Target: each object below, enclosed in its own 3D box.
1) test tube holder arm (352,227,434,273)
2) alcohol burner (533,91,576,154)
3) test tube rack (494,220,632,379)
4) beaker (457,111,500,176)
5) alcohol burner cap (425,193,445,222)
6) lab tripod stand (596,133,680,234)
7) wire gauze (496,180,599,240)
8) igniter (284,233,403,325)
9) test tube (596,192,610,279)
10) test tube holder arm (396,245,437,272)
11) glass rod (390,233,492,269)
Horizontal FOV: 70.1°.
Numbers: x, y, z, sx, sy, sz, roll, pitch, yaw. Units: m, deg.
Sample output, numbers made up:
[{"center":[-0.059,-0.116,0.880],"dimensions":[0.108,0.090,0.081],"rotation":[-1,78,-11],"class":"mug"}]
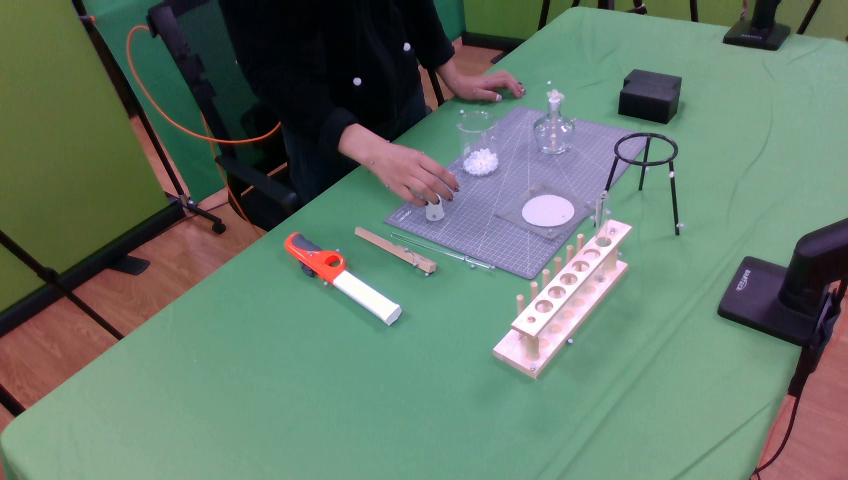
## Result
[{"center":[-0.053,0.014,0.978],"dimensions":[0.177,0.015,0.013],"rotation":[25,14,33],"class":"test tube holder arm"},{"center":[0.243,-0.222,1.124],"dimensions":[0.078,0.119,0.077],"rotation":[-4,39,4],"class":"alcohol burner"},{"center":[0.191,0.068,0.818],"dimensions":[0.066,0.085,0.243],"rotation":[25,51,35],"class":"test tube rack"},{"center":[0.104,-0.176,1.108],"dimensions":[0.073,0.101,0.084],"rotation":[16,46,27],"class":"beaker"},{"center":[0.017,-0.057,1.029],"dimensions":[0.034,0.048,0.033],"rotation":[-6,40,5],"class":"alcohol burner cap"},{"center":[0.338,-0.090,0.940],"dimensions":[0.148,0.132,0.147],"rotation":[-7,39,6],"class":"lab tripod stand"},{"center":[0.206,-0.050,1.012],"dimensions":[0.125,0.011,0.120],"rotation":[-34,45,-26],"class":"wire gauze"},{"center":[-0.136,0.054,0.942],"dimensions":[0.274,0.025,0.057],"rotation":[29,63,37],"class":"igniter"},{"center":[0.240,-0.002,0.814],"dimensions":[0.017,0.151,0.017],"rotation":[-7,42,7],"class":"test tube"},{"center":[-0.016,0.030,0.957],"dimensions":[0.087,0.015,0.010],"rotation":[25,14,34],"class":"test tube holder arm"},{"center":[0.023,0.017,0.970],"dimensions":[0.198,0.008,0.008],"rotation":[18,48,32],"class":"glass rod"}]
